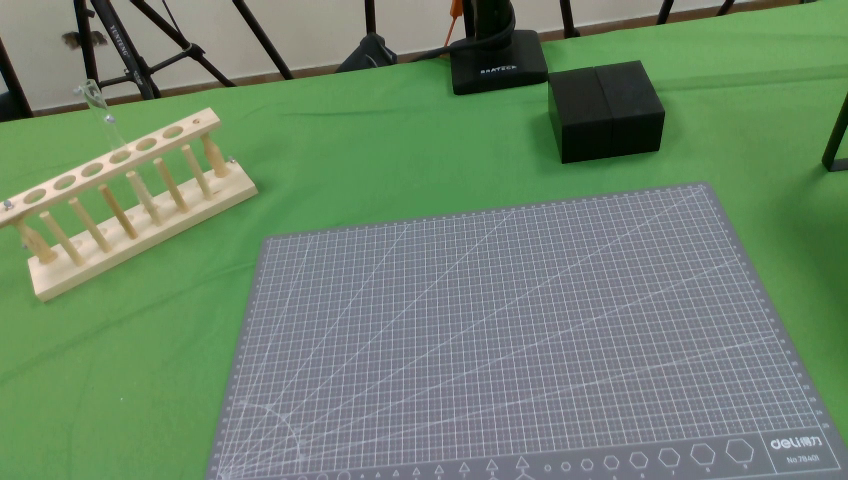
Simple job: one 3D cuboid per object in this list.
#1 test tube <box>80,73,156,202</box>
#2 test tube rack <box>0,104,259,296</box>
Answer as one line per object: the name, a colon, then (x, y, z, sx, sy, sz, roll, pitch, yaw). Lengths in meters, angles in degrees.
test tube: (-0.311, -0.099, 0.623, 0.017, 0.152, 0.017, -4, 42, 4)
test tube rack: (-0.311, -0.047, 0.642, 0.242, 0.086, 0.066, -30, 48, -17)
